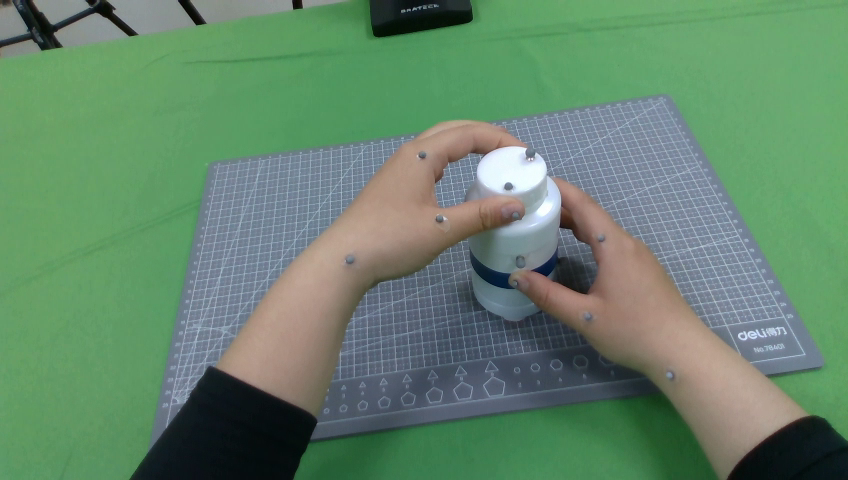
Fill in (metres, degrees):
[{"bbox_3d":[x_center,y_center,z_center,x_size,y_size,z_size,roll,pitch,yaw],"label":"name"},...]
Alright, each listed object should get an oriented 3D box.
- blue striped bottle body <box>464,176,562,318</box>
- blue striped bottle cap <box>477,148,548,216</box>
[{"bbox_3d":[0.061,-0.004,0.414,0.063,0.122,0.062,-4,50,5],"label":"blue striped bottle body"},{"bbox_3d":[0.054,-0.037,0.375,0.044,0.021,0.044,-4,48,5],"label":"blue striped bottle cap"}]
